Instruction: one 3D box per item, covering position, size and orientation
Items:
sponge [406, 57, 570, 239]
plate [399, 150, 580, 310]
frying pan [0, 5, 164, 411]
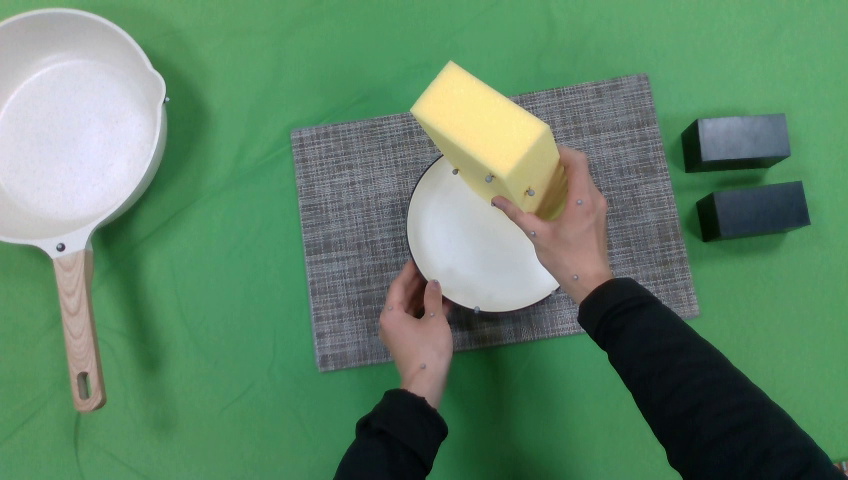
[{"bbox_3d":[0.075,-0.083,0.618,0.117,0.208,0.061,39,90,25],"label":"sponge"},{"bbox_3d":[0.075,-0.020,0.713,0.207,0.039,0.207,0,82,3],"label":"plate"},{"bbox_3d":[-0.425,-0.041,0.710,0.307,0.103,0.484,-16,73,2],"label":"frying pan"}]
